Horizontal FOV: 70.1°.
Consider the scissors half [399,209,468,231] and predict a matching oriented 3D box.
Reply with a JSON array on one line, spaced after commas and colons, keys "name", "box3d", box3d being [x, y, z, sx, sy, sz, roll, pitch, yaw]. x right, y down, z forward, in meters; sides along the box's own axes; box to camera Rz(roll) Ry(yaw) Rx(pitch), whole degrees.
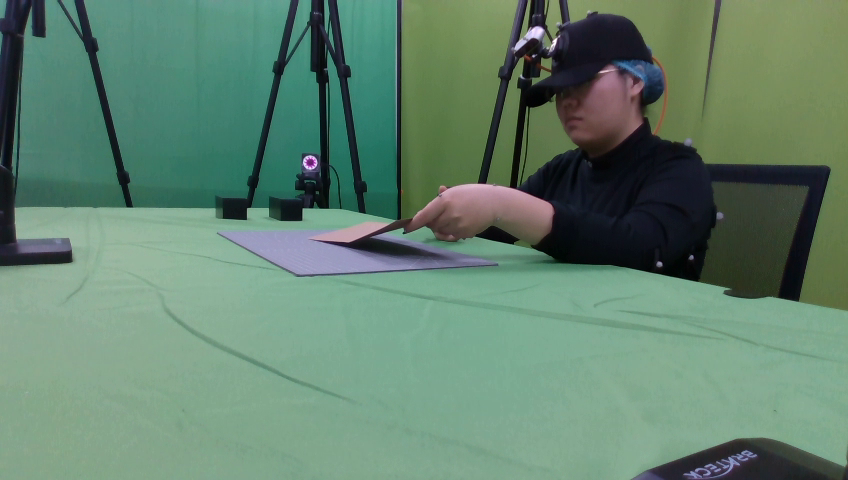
[{"name": "scissors half", "box3d": [0.019, -0.031, 1.077, 0.176, 0.040, 0.012, -8, -2, -44]}]

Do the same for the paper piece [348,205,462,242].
[{"name": "paper piece", "box3d": [-0.031, -0.026, 0.942, 0.136, 0.008, 0.137, -21, 3, -39]}]

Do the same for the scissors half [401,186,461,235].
[{"name": "scissors half", "box3d": [0.012, -0.052, 1.075, 0.013, 0.040, 0.175, -18, 18, 46]}]

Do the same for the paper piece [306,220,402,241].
[{"name": "paper piece", "box3d": [-0.115, -0.017, 1.042, 0.136, 0.004, 0.134, -17, 14, -39]}]
